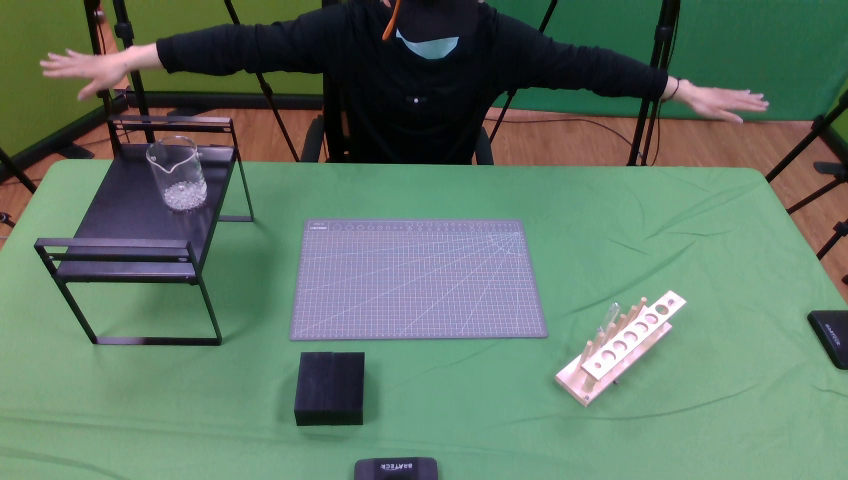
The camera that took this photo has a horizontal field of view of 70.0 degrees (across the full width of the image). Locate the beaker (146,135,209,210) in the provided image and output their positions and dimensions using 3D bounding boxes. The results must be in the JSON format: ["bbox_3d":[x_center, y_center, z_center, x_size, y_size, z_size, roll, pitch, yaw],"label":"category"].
[{"bbox_3d":[-0.387,-0.102,0.961,0.074,0.101,0.083,-5,48,-7],"label":"beaker"}]

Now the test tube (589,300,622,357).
[{"bbox_3d":[0.288,0.144,0.970,0.017,0.151,0.017,2,49,-2],"label":"test tube"}]

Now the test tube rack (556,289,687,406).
[{"bbox_3d":[0.332,0.165,1.014,0.242,0.085,0.066,-31,55,-28],"label":"test tube rack"}]
